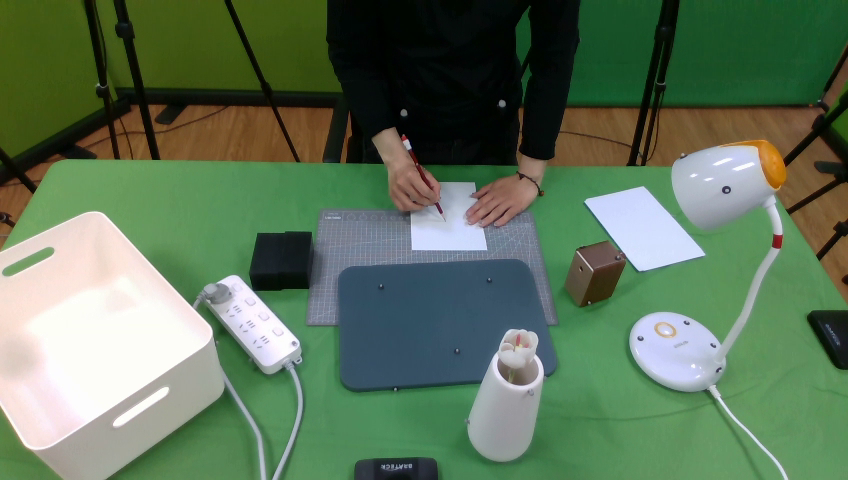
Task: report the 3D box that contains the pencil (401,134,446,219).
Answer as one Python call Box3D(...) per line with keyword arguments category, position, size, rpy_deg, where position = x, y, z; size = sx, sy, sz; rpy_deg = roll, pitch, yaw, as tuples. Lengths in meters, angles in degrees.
Box3D(category="pencil", position=(0.001, -0.125, 1.225), size=(0.012, 0.194, 0.012), rpy_deg=(-26, 14, 7))

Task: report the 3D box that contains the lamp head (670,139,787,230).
Box3D(category="lamp head", position=(0.415, -0.079, 0.812), size=(0.113, 0.123, 0.112), rpy_deg=(13, 70, -37))

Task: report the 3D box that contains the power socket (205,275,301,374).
Box3D(category="power socket", position=(-0.296, 0.140, 1.035), size=(0.072, 0.033, 0.225), rpy_deg=(-32, 57, -29))

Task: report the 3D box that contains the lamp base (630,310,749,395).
Box3D(category="lamp base", position=(0.447, 0.142, 0.984), size=(0.161, 0.181, 0.178), rpy_deg=(-24, 55, -24))

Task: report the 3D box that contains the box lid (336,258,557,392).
Box3D(category="box lid", position=(0.030, 0.140, 1.073), size=(0.372, 0.015, 0.261), rpy_deg=(-3, 47, -7))

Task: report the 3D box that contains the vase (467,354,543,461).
Box3D(category="vase", position=(0.116, 0.234, 0.861), size=(0.098, 0.201, 0.097), rpy_deg=(1, 47, -1))

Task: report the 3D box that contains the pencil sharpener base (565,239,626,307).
Box3D(category="pencil sharpener base", position=(0.313, 0.060, 1.104), size=(0.077, 0.107, 0.061), rpy_deg=(-15, 49, -18))

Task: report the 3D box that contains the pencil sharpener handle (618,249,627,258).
Box3D(category="pencil sharpener handle", position=(0.359, 0.036, 1.113), size=(0.031, 0.068, 0.036), rpy_deg=(-15, 61, -18))

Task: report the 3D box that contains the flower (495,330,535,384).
Box3D(category="flower", position=(0.110, 0.187, 0.791), size=(0.044, 0.363, 0.038), rpy_deg=(-32, 65, -10))

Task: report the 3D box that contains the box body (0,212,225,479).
Box3D(category="box body", position=(-0.504, 0.154, 0.916), size=(0.362, 0.161, 0.254), rpy_deg=(36, 54, 27))

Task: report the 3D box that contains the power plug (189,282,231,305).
Box3D(category="power plug", position=(-0.368, 0.097, 1.039), size=(0.072, 0.053, 0.035), rpy_deg=(-26, 55, -20))
